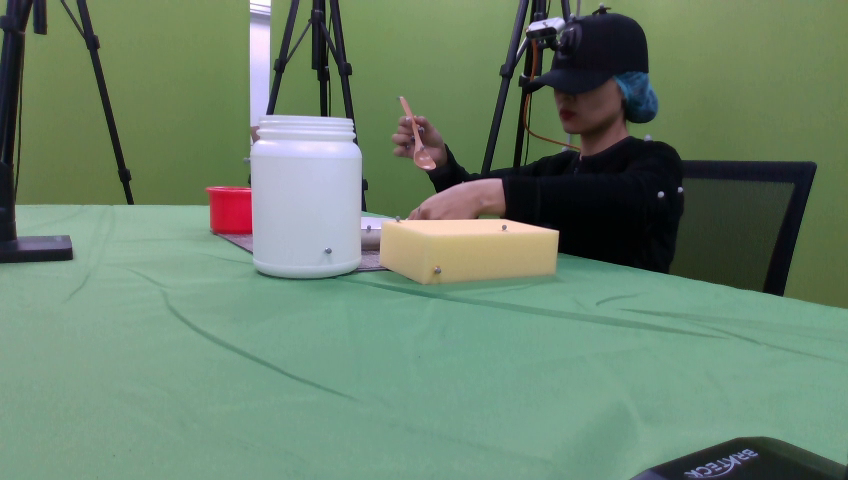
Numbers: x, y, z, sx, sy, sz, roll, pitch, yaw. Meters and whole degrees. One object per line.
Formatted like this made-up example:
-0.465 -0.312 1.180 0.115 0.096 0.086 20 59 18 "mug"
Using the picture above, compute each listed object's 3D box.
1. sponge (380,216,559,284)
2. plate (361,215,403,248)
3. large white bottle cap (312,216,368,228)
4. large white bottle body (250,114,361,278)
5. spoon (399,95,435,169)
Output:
0.059 0.008 0.786 0.208 0.061 0.117 -3 11 -32 "sponge"
-0.122 -0.015 0.984 0.209 0.038 0.209 2 7 0 "plate"
-0.171 -0.038 1.234 0.115 0.018 0.115 1 5 0 "large white bottle cap"
-0.140 -0.056 0.727 0.131 0.184 0.130 1 10 0 "large white bottle body"
-0.017 -0.210 1.165 0.042 0.193 0.021 -4 -29 -24 "spoon"
